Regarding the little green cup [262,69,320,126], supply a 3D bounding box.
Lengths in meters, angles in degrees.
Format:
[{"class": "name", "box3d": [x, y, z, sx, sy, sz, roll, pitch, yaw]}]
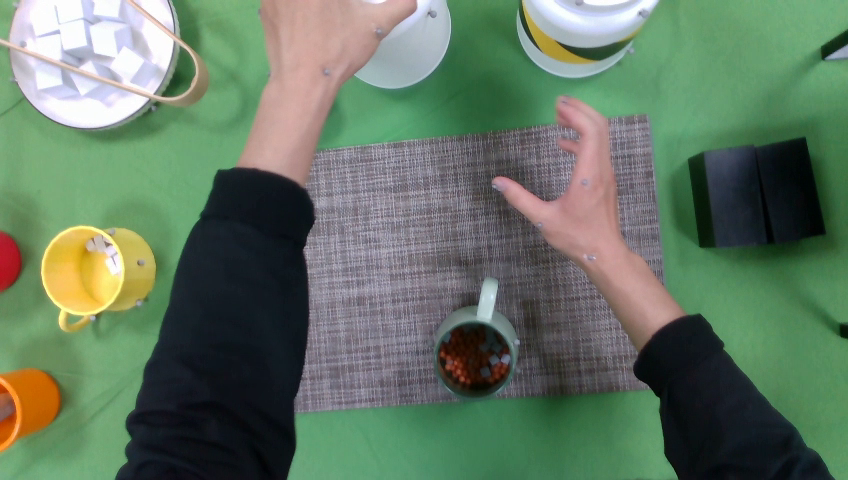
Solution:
[{"class": "little green cup", "box3d": [-0.148, -0.158, 0.687, 0.061, 0.038, 0.061, 0, 91, 5]}]

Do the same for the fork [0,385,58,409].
[{"class": "fork", "box3d": [-0.526, 0.173, 0.670, 0.209, 0.018, 0.028, 12, 88, -37]}]

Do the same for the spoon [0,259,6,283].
[{"class": "spoon", "box3d": [-0.535, -0.021, 0.672, 0.041, 0.021, 0.196, -10, 134, 5]}]

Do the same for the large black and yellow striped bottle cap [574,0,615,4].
[{"class": "large black and yellow striped bottle cap", "box3d": [0.144, -0.256, 0.501, 0.115, 0.019, 0.115, 0, 91, 4]}]

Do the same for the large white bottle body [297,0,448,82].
[{"class": "large white bottle body", "box3d": [-0.049, -0.240, 0.581, 0.130, 0.185, 0.130, 0, 88, 8]}]

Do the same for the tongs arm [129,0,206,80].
[{"class": "tongs arm", "box3d": [-0.389, -0.304, 0.679, 0.386, 0.028, 0.028, 38, 87, 6]}]

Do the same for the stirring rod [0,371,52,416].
[{"class": "stirring rod", "box3d": [-0.501, 0.208, 0.674, 0.014, 0.006, 0.176, 45, 52, 3]}]

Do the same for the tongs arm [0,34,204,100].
[{"class": "tongs arm", "box3d": [-0.429, -0.231, 0.682, 0.384, 0.026, 0.050, 24, 89, 7]}]

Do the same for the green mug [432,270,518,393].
[{"class": "green mug", "box3d": [0.056, 0.093, 0.632, 0.092, 0.105, 0.125, 11, 91, 6]}]

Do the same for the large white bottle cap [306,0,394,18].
[{"class": "large white bottle cap", "box3d": [-0.061, -0.242, 0.498, 0.114, 0.018, 0.114, 0, 89, 7]}]

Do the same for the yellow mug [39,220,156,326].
[{"class": "yellow mug", "box3d": [-0.380, 0.041, 0.697, 0.100, 0.064, 0.131, 27, 94, 5]}]

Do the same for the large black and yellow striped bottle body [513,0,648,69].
[{"class": "large black and yellow striped bottle body", "box3d": [0.154, -0.253, 0.584, 0.130, 0.184, 0.130, 0, 90, 6]}]

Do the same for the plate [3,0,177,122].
[{"class": "plate", "box3d": [-0.385, -0.240, 0.710, 0.207, 0.039, 0.207, 0, 91, 6]}]
